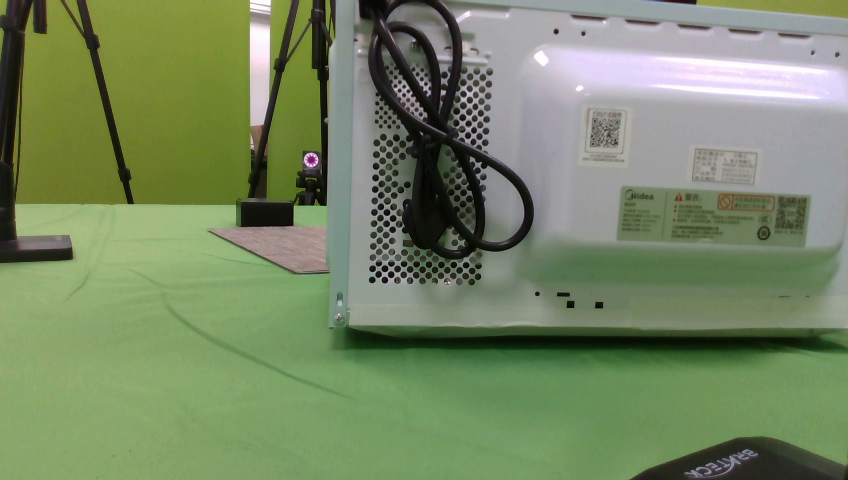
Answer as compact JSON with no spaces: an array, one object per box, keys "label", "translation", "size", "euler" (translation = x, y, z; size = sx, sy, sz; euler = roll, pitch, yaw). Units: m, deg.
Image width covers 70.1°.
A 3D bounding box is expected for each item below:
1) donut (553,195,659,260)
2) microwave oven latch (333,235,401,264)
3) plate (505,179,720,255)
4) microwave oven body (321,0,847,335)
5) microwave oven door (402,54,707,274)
[{"label":"donut","translation":[0.172,-0.015,0.574],"size":[0.099,0.048,0.099],"euler":[-12,12,3]},{"label":"microwave oven latch","translation":[-0.066,0.010,0.701],"size":[0.079,0.029,0.030],"euler":[2,7,-8]},{"label":"plate","translation":[0.184,-0.025,0.615],"size":[0.209,0.038,0.209],"euler":[5,16,-1]},{"label":"microwave oven body","translation":[0.133,-0.062,0.568],"size":[0.443,0.260,0.325],"euler":[2,7,-8]},{"label":"microwave oven door","translation":[0.157,-0.085,0.717],"size":[0.357,0.243,0.039],"euler":[1,8,-8]}]
